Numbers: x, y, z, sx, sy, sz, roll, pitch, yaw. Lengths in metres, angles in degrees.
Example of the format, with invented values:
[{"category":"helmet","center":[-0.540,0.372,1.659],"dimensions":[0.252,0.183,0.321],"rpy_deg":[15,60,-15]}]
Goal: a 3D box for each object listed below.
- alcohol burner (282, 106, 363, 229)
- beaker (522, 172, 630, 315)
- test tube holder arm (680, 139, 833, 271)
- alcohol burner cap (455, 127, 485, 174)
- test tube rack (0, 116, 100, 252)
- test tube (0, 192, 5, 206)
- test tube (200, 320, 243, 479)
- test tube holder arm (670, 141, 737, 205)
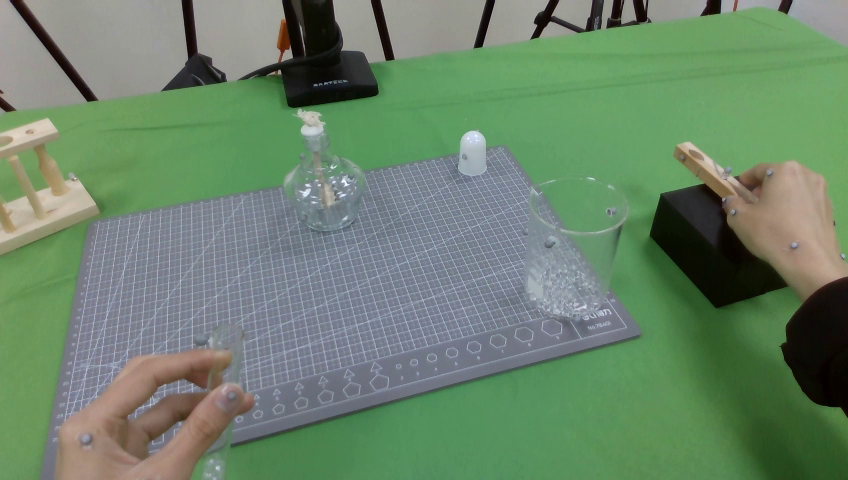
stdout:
[{"category":"alcohol burner","center":[-0.099,-0.071,0.573],"dimensions":[0.078,0.120,0.077],"rpy_deg":[-2,41,2]},{"category":"beaker","center":[0.116,0.005,0.491],"dimensions":[0.074,0.101,0.083],"rpy_deg":[-34,50,-31]},{"category":"test tube holder arm","center":[0.279,-0.036,0.524],"dimensions":[0.013,0.015,0.176],"rpy_deg":[-23,46,-9]},{"category":"alcohol burner cap","center":[0.050,-0.099,0.653],"dimensions":[0.034,0.048,0.033],"rpy_deg":[-1,42,1]},{"category":"test tube rack","center":[-0.448,-0.024,0.559],"dimensions":[0.242,0.086,0.066],"rpy_deg":[-30,49,-28]},{"category":"test tube","center":[-0.427,-0.091,0.558],"dimensions":[0.017,0.151,0.017],"rpy_deg":[-1,39,1]},{"category":"test tube","center":[-0.114,0.104,0.334],"dimensions":[0.017,0.151,0.017],"rpy_deg":[12,31,-7]},{"category":"test tube holder arm","center":[0.257,-0.062,0.553],"dimensions":[0.010,0.015,0.087],"rpy_deg":[-22,46,-8]}]
